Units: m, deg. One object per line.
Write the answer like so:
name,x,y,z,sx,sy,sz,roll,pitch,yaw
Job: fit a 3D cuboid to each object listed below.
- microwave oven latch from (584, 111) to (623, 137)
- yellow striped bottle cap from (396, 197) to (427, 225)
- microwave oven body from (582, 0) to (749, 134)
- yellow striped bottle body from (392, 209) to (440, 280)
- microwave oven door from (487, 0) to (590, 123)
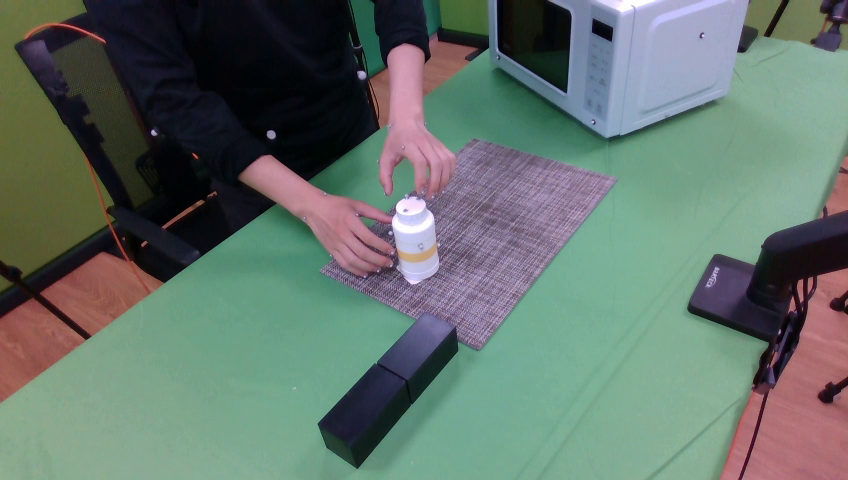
microwave oven latch,0.337,-0.222,1.142,0.030,0.029,0.078,-21,42,-14
yellow striped bottle cap,-0.018,-0.042,0.858,0.044,0.019,0.044,-3,39,3
microwave oven body,0.382,-0.444,1.246,0.327,0.261,0.437,-22,42,-16
yellow striped bottle body,-0.012,-0.003,0.892,0.063,0.121,0.062,-4,41,4
microwave oven door,0.231,-0.420,1.230,0.039,0.245,0.352,-22,43,-16
